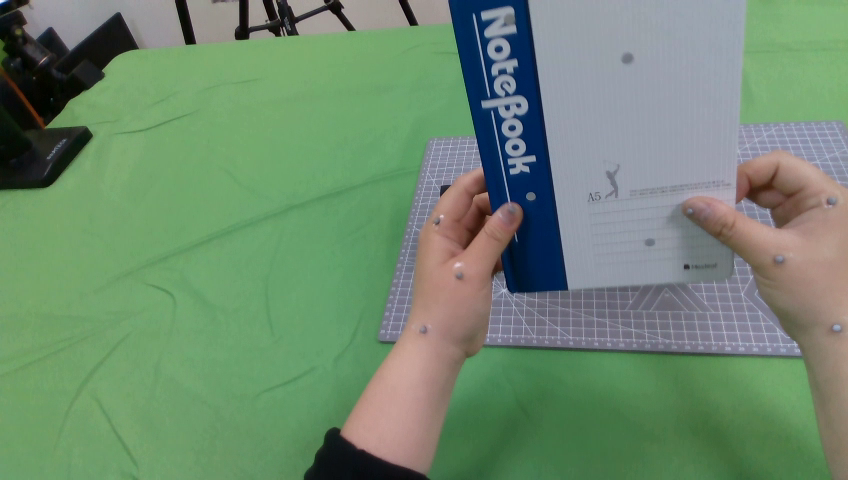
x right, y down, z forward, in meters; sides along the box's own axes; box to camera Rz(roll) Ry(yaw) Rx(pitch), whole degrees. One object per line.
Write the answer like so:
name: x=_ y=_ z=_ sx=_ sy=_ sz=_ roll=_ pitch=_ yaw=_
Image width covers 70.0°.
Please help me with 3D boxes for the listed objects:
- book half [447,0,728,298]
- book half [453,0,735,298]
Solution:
book half: x=0.106 y=-0.058 z=0.371 sx=0.148 sy=0.212 sz=0.016 roll=-7 pitch=30 yaw=13
book half: x=0.107 y=-0.054 z=0.363 sx=0.143 sy=0.212 sz=0.007 roll=-5 pitch=31 yaw=17
